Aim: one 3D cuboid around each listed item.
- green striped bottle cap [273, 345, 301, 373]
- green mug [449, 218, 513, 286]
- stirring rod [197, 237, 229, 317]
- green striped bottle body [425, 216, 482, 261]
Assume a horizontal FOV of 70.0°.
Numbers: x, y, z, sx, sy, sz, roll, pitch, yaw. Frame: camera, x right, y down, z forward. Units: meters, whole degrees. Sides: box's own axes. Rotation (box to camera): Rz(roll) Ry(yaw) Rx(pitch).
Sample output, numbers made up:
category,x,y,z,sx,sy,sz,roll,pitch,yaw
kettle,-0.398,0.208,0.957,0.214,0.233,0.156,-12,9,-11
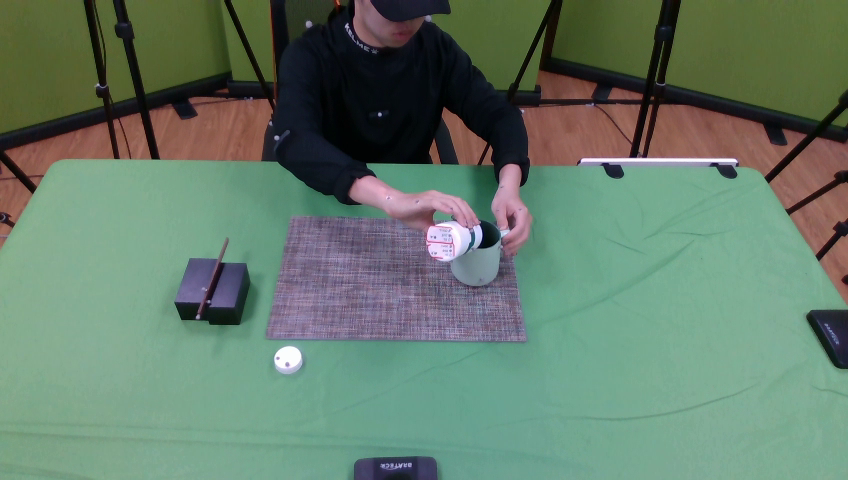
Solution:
category,x,y,z,sx,sy,sz,roll,pitch,yaw
green striped bottle cap,-0.225,0.195,0.997,0.044,0.020,0.044,1,50,-2
green mug,0.110,0.018,1.126,0.125,0.105,0.092,-19,50,-21
stirring rod,-0.363,0.060,1.047,0.006,0.014,0.175,7,46,-3
green striped bottle body,0.055,-0.006,1.015,0.063,0.063,0.119,27,20,20
